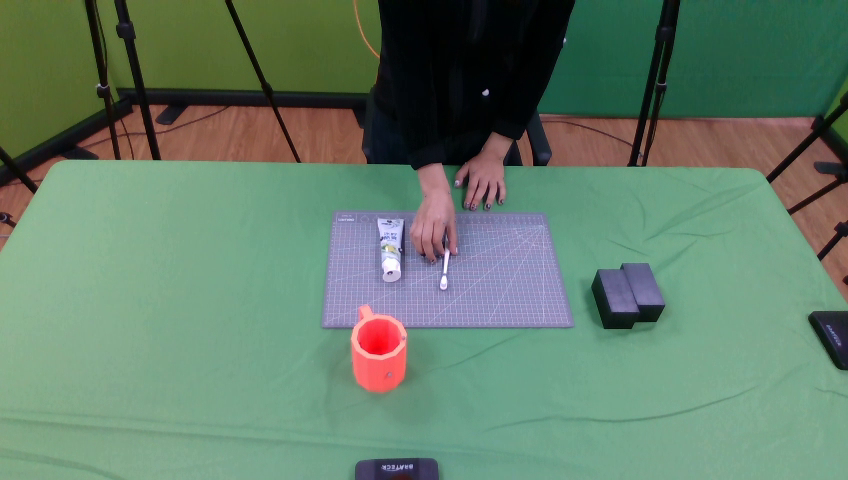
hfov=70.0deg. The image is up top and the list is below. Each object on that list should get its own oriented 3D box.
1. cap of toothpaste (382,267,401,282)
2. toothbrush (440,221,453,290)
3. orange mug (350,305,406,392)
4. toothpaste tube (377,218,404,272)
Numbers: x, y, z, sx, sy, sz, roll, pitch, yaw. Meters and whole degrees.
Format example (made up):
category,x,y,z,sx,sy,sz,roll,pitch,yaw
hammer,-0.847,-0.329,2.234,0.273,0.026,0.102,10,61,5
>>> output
category,x,y,z,sx,sy,sz,roll,pitch,yaw
cap of toothpaste,-0.060,0.063,1.118,0.037,0.037,0.011,-9,50,-12
toothbrush,0.045,0.025,1.177,0.014,0.017,0.181,3,44,5
orange mug,-0.080,0.168,0.978,0.083,0.101,0.125,-16,54,-18
toothpaste tube,-0.063,0.008,1.179,0.055,0.034,0.164,5,42,-9
